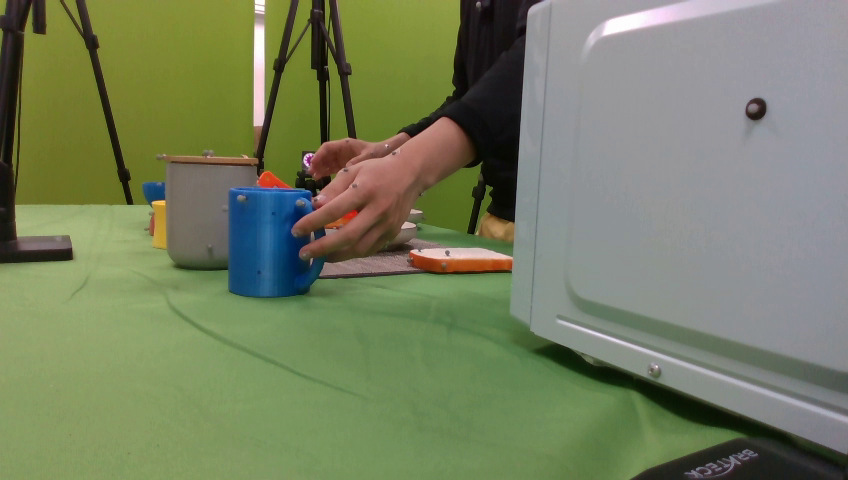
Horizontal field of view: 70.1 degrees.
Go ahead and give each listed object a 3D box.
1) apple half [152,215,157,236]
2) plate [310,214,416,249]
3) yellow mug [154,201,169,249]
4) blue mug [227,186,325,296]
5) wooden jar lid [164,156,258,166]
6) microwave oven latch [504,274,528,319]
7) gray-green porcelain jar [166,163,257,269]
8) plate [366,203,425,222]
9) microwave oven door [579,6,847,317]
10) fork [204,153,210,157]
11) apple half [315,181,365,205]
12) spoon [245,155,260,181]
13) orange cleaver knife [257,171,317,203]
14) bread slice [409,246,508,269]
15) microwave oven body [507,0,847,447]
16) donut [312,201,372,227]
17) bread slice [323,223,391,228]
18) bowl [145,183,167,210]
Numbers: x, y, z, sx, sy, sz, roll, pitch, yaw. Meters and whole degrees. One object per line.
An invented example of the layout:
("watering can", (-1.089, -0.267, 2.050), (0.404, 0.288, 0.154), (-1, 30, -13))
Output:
("apple half", (-0.415, -0.034, 1.017), (0.081, 0.053, 0.074), (1, 10, -9))
("plate", (-0.116, -0.014, 0.967), (0.208, 0.039, 0.207), (2, 8, 0))
("yellow mug", (-0.337, -0.023, 0.899), (0.130, 0.064, 0.100), (8, 10, 34))
("blue mug", (-0.146, 0.000, 0.618), (0.116, 0.106, 0.083), (7, 9, 32))
("wooden jar lid", (-0.261, -0.093, 0.746), (0.108, 0.020, 0.108), (1, 9, 0))
("microwave oven latch", (0.100, 0.041, 0.470), (0.079, 0.029, 0.030), (-1, 7, -26))
("gray-green porcelain jar", (-0.263, -0.031, 0.754), (0.106, 0.126, 0.106), (2, 7, 0))
("plate", (-0.102, -0.053, 1.299), (0.209, 0.038, 0.209), (2, 8, 0))
("microwave oven door", (0.294, -0.067, 0.570), (0.358, 0.243, 0.039), (-3, 9, -31))
("fork", (-0.480, -0.135, 1.411), (0.028, 0.018, 0.207), (1, -34, 0))
("apple half", (-0.129, -0.076, 0.954), (0.081, 0.033, 0.081), (7, 11, -1))
("spoon", (-0.421, -0.150, 1.540), (0.042, 0.021, 0.193), (-5, 55, -37))
("orange cleaver knife", (-0.283, -0.087, 1.343), (0.212, 0.077, 0.012), (24, -16, -41))
("bread slice", (0.048, 0.022, 0.816), (0.132, 0.019, 0.104), (0, 7, -24))
("microwave oven body", (0.331, -0.042, 0.425), (0.444, 0.260, 0.324), (-2, 8, -31))
("donut", (-0.132, -0.042, 0.959), (0.099, 0.048, 0.099), (2, 8, 0))
("bread slice", (-0.120, -0.013, 0.970), (0.106, 0.018, 0.135), (9, 11, 40))
("bowl", (-0.459, -0.069, 1.175), (0.151, 0.077, 0.151), (3, 7, 0))
